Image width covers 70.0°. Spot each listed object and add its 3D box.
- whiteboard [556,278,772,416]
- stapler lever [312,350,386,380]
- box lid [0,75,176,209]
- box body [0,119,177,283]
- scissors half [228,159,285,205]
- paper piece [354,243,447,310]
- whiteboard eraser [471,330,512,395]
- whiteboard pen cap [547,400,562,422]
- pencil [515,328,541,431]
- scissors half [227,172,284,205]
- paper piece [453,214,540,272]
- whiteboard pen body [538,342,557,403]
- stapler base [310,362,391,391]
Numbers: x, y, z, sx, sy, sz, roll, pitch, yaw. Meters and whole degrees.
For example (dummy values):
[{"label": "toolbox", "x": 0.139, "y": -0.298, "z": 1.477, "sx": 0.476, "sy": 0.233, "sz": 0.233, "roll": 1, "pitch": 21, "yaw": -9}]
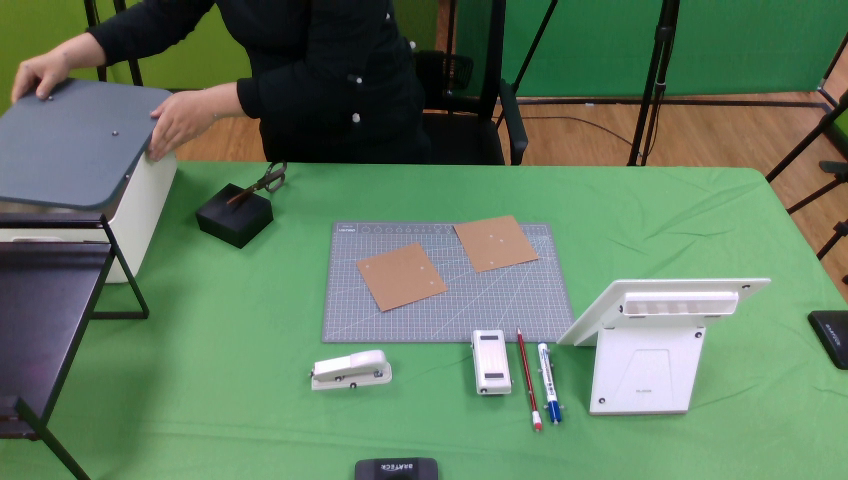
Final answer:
[{"label": "whiteboard", "x": 0.347, "y": 0.174, "z": 0.903, "sx": 0.217, "sy": 0.306, "sz": 0.143, "roll": 1, "pitch": 65, "yaw": -4}, {"label": "stapler lever", "x": -0.120, "y": 0.198, "z": 0.963, "sx": 0.118, "sy": 0.040, "sz": 0.026, "roll": -4, "pitch": 44, "yaw": -8}, {"label": "box lid", "x": -0.624, "y": -0.184, "z": 1.070, "sx": 0.263, "sy": 0.015, "sz": 0.369, "roll": 7, "pitch": 43, "yaw": -4}, {"label": "box body", "x": -0.640, "y": -0.095, "z": 1.140, "sx": 0.254, "sy": 0.161, "sz": 0.361, "roll": 0, "pitch": 46, "yaw": -4}, {"label": "scissors half", "x": -0.336, "y": -0.117, "z": 1.218, "sx": 0.013, "sy": 0.040, "sz": 0.175, "roll": 25, "pitch": 45, "yaw": 13}, {"label": "paper piece", "x": -0.045, "y": 0.066, "z": 1.137, "sx": 0.136, "sy": 0.009, "sz": 0.137, "roll": -14, "pitch": 47, "yaw": -22}, {"label": "whiteboard eraser", "x": 0.110, "y": 0.202, "z": 0.998, "sx": 0.055, "sy": 0.042, "sz": 0.112, "roll": 1, "pitch": 46, "yaw": -5}, {"label": "whiteboard pen cap", "x": 0.205, "y": 0.269, "z": 0.956, "sx": 0.018, "sy": 0.018, "sz": 0.033, "roll": 0, "pitch": 47, "yaw": -5}, {"label": "pencil", "x": 0.169, "y": 0.224, "z": 1.002, "sx": 0.012, "sy": 0.012, "sz": 0.192, "roll": -1, "pitch": 46, "yaw": -6}, {"label": "scissors half", "x": -0.339, "y": -0.101, "z": 1.230, "sx": 0.013, "sy": 0.040, "sz": 0.175, "roll": 21, "pitch": 28, "yaw": 17}, {"label": "paper piece", "x": 0.142, "y": 0.002, "z": 1.213, "sx": 0.135, "sy": 0.004, "sz": 0.135, "roll": -11, "pitch": 47, "yaw": -14}, {"label": "whiteboard pen body", "x": 0.205, "y": 0.228, "z": 0.997, "sx": 0.017, "sy": 0.017, "sz": 0.140, "roll": 1, "pitch": 46, "yaw": -3}, {"label": "stapler base", "x": -0.119, "y": 0.215, "z": 0.980, "sx": 0.131, "sy": 0.024, "sz": 0.041, "roll": -5, "pitch": 44, "yaw": -7}]
